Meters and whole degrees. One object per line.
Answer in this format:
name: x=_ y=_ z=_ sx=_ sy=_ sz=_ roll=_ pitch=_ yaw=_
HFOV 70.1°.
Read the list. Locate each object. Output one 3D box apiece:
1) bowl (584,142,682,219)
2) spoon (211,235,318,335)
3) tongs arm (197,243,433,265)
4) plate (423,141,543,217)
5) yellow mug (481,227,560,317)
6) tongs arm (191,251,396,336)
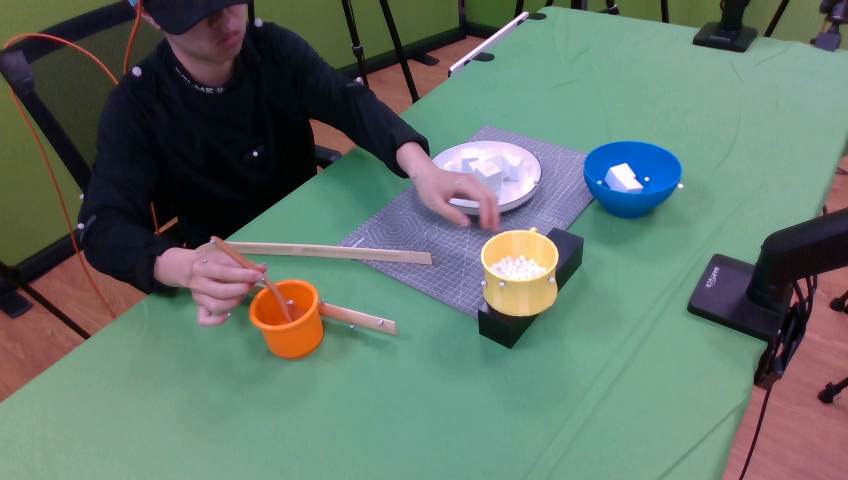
bowl: x=0.333 y=-0.087 z=0.980 sx=0.151 sy=0.077 sz=0.150 roll=-4 pitch=40 yaw=3
spoon: x=-0.208 y=0.061 z=0.803 sx=0.021 sy=0.195 sz=0.041 roll=-28 pitch=28 yaw=17
tongs arm: x=-0.177 y=0.024 z=0.960 sx=0.386 sy=0.028 sz=0.028 roll=2 pitch=45 yaw=12
plate: x=0.103 y=-0.104 z=1.059 sx=0.207 sy=0.039 sz=0.206 roll=-4 pitch=41 yaw=4
yellow mug: x=0.132 y=0.032 z=0.801 sx=0.099 sy=0.064 sz=0.131 roll=11 pitch=43 yaw=21
tongs arm: x=-0.204 y=0.074 z=0.902 sx=0.382 sy=0.026 sz=0.051 roll=11 pitch=44 yaw=22
